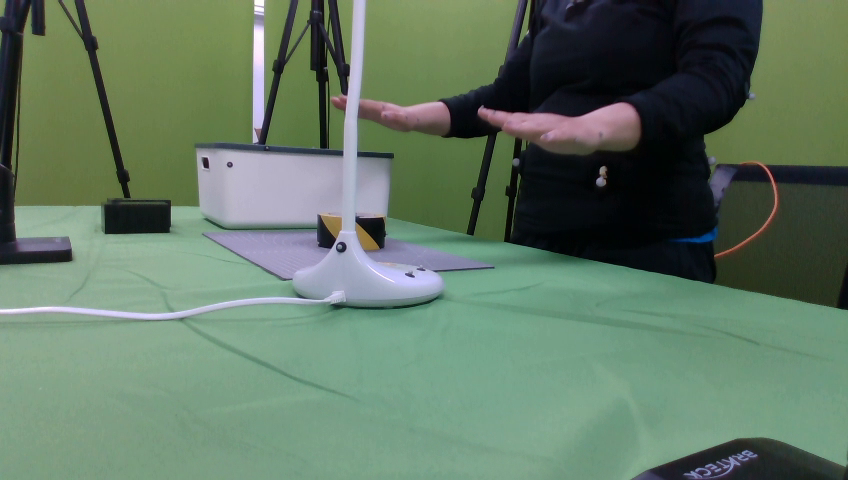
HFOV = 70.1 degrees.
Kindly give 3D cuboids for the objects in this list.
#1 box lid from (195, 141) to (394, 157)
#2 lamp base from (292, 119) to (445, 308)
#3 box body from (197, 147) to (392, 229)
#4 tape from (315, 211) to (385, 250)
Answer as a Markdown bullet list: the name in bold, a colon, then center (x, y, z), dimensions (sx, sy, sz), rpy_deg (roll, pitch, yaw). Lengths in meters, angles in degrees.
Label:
- **box lid**: center (-0.277, -0.190, 1.282), dimensions (0.373, 0.015, 0.262), rpy_deg (-1, 8, -30)
- **lamp base**: center (-0.056, -0.030, 0.616), dimensions (0.160, 0.180, 0.179), rpy_deg (3, 10, 8)
- **box body**: center (-0.278, -0.117, 1.292), dimensions (0.366, 0.160, 0.253), rpy_deg (-2, 8, -30)
- **tape**: center (-0.119, -0.017, 0.973), dimensions (0.117, 0.052, 0.117), rpy_deg (2, 6, 0)
